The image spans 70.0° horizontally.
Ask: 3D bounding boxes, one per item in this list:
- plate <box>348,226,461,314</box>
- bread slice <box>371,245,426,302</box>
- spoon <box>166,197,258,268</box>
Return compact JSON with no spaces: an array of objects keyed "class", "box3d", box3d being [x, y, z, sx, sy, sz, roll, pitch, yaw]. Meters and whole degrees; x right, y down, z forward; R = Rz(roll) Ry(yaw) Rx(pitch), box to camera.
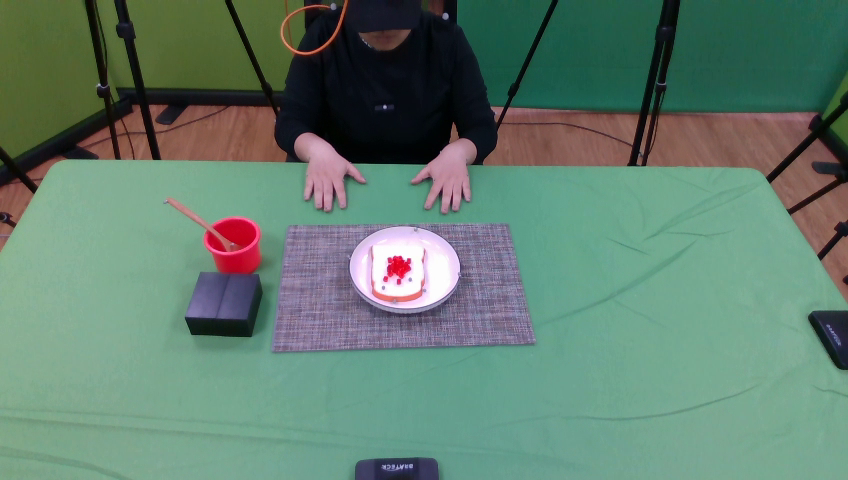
[{"class":"plate","box3d":[-0.035,0.058,1.123,0.209,0.038,0.208,2,46,-2]},{"class":"bread slice","box3d":[-0.047,0.059,1.123,0.105,0.019,0.130,0,46,-3]},{"class":"spoon","box3d":[-0.383,-0.014,1.100,0.194,0.021,0.041,45,46,-22]}]
